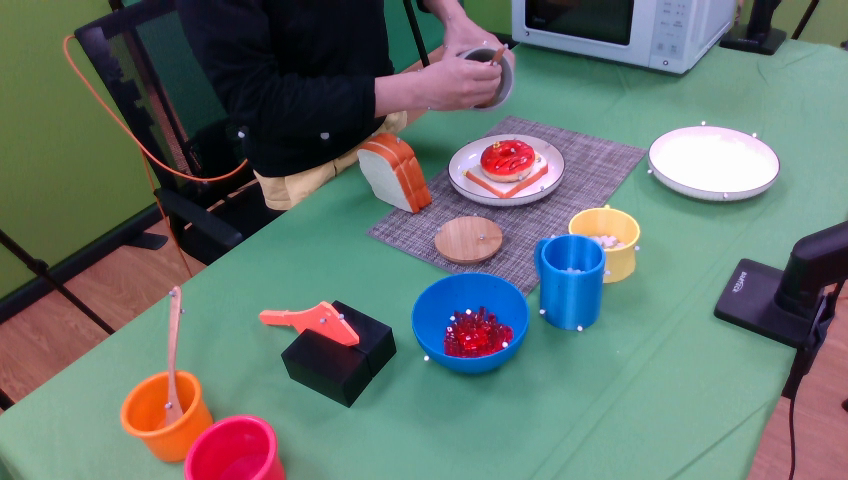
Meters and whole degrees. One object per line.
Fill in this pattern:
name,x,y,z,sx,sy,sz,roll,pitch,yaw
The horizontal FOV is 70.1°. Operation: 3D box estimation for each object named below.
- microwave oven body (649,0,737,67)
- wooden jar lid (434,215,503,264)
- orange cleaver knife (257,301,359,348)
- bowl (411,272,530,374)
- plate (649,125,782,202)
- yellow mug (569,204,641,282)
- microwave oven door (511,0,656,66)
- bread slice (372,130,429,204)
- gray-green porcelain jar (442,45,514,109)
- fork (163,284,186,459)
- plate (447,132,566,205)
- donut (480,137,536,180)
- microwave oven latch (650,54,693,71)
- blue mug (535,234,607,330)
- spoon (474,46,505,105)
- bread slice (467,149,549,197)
microwave oven body,0.475,-0.602,1.411,0.438,0.261,0.327,23,50,32
wooden jar lid,0.070,0.001,0.956,0.108,0.021,0.108,-4,40,4
orange cleaver knife,-0.160,0.115,0.813,0.210,0.077,0.012,-9,29,48
bowl,0.062,0.120,0.780,0.151,0.077,0.150,-4,40,4
plate,0.493,-0.127,1.036,0.207,0.039,0.206,-4,41,4
yellow mug,0.268,-0.005,0.904,0.099,0.064,0.130,7,41,15
microwave oven door,0.351,-0.539,1.348,0.353,0.245,0.039,24,50,31
bread slice,-0.043,-0.127,1.038,0.106,0.135,0.018,31,61,33
gray-green porcelain jar,0.091,-0.287,1.073,0.106,0.106,0.126,-13,15,-6
fork,-0.302,0.157,0.733,0.028,0.019,0.207,-3,84,14
plate,0.146,-0.124,1.076,0.209,0.038,0.208,-4,41,4
donut,0.146,-0.144,1.056,0.099,0.048,0.098,-6,43,6
microwave oven latch,0.531,-0.386,1.301,0.078,0.029,0.030,26,51,33
blue mug,0.190,0.048,0.824,0.082,0.106,0.115,-26,44,-20
spoon,0.106,-0.263,0.977,0.042,0.194,0.021,-30,79,-8
bread slice,0.156,-0.129,1.084,0.132,0.019,0.104,-34,48,-23
